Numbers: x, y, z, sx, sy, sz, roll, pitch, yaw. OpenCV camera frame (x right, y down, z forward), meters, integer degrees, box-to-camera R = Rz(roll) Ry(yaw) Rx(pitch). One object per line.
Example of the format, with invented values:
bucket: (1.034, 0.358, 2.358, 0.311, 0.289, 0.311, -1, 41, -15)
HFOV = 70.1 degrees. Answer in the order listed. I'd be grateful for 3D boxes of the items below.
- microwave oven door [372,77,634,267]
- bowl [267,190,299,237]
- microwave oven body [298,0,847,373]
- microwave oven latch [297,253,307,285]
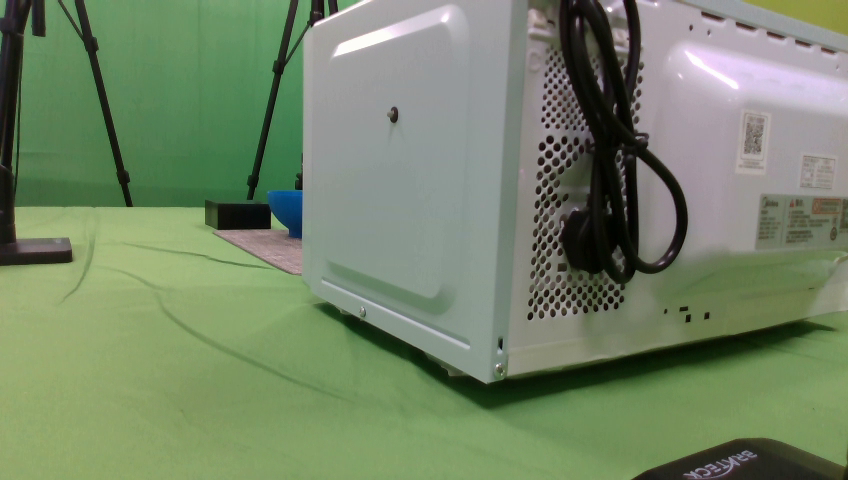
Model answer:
microwave oven door: (0.096, -0.099, 0.837, 0.355, 0.243, 0.039, 5, 8, 20)
bowl: (-0.202, -0.046, 1.069, 0.151, 0.077, 0.151, 3, 7, 0)
microwave oven body: (0.151, -0.055, 0.543, 0.444, 0.260, 0.324, -1, 7, -33)
microwave oven latch: (-0.082, 0.027, 0.583, 0.079, 0.029, 0.030, -1, 7, -33)
